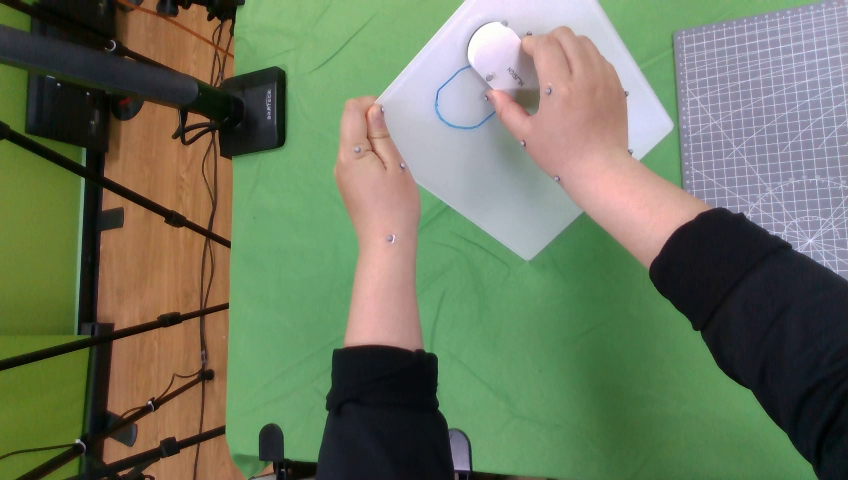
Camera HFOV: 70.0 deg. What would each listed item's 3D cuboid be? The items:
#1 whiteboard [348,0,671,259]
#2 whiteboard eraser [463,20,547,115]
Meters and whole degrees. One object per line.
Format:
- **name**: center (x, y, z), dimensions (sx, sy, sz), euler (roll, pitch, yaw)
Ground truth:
- **whiteboard**: center (0.075, -0.149, 0.612), dimensions (0.217, 0.308, 0.142), euler (-45, 48, 14)
- **whiteboard eraser**: center (0.068, -0.141, 0.502), dimensions (0.041, 0.102, 0.018), euler (-44, 48, 12)
